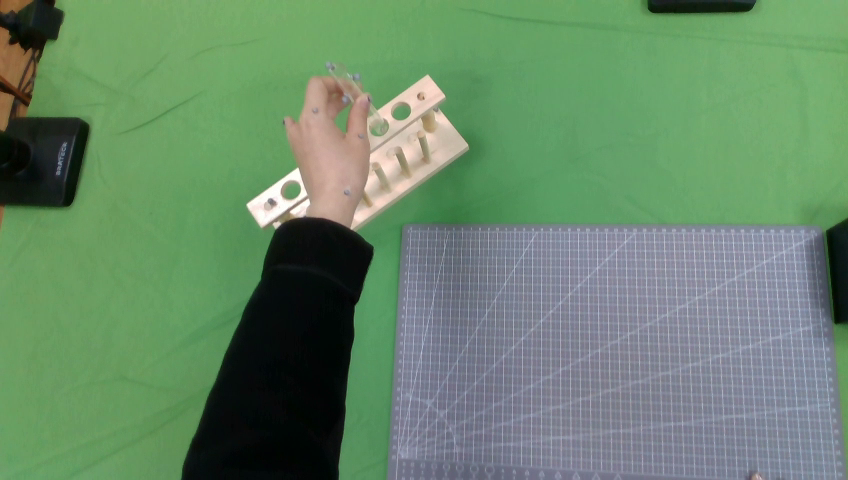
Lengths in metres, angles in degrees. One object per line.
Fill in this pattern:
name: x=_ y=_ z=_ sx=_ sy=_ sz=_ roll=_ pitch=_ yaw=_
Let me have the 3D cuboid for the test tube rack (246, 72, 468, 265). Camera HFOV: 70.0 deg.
test tube rack: x=-0.070 y=-0.076 z=0.684 sx=0.242 sy=0.086 sz=0.066 roll=-36 pitch=73 yaw=-1

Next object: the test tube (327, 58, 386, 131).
test tube: x=-0.062 y=-0.136 z=0.589 sx=0.017 sy=0.151 sz=0.017 roll=-2 pitch=80 yaw=11
